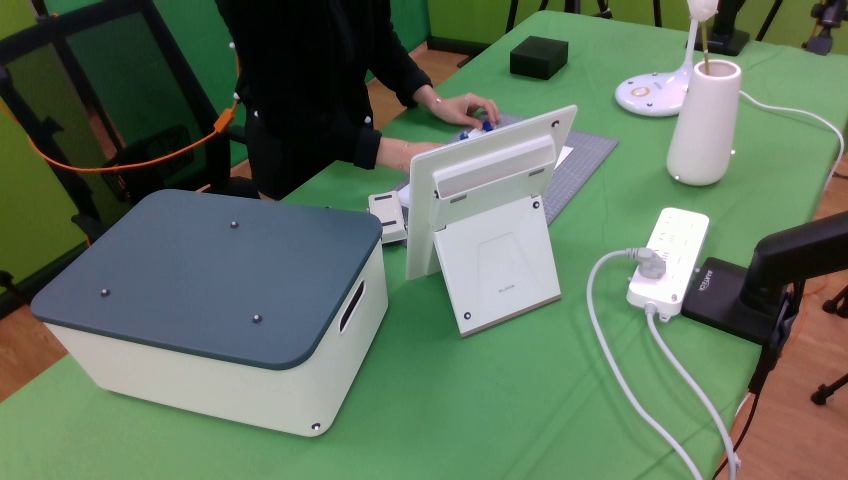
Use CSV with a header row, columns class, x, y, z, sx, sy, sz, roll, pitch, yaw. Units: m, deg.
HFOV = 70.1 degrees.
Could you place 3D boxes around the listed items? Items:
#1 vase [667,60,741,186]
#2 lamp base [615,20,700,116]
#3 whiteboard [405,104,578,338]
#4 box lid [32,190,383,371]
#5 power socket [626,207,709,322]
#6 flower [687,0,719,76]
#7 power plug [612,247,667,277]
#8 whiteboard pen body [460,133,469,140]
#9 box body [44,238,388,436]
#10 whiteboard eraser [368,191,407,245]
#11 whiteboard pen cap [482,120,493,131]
class,x,y,z,sx,sy,sz,roll,pitch,yaw
vase,0.463,-0.189,0.994,0.098,0.201,0.097,-4,40,4
lamp base,0.484,-0.364,1.211,0.180,0.181,0.159,-15,41,-14
whiteboard,0.102,0.003,0.787,0.218,0.306,0.143,-19,62,-13
box lid,-0.257,0.032,0.750,0.370,0.015,0.263,7,42,16
power socket,0.360,0.026,0.886,0.072,0.033,0.227,17,46,27
flower,0.436,-0.242,0.934,0.038,0.364,0.043,-24,49,8
power plug,0.306,0.031,0.852,0.072,0.053,0.035,21,48,37
whiteboard pen body,0.076,-0.137,1.036,0.017,0.141,0.017,-4,62,8
box body,-0.251,0.088,0.799,0.362,0.161,0.254,7,42,16
whiteboard eraser,-0.061,-0.035,1.006,0.056,0.042,0.112,-9,40,-3
whiteboard pen cap,0.130,-0.227,1.223,0.018,0.018,0.033,-12,44,-6
